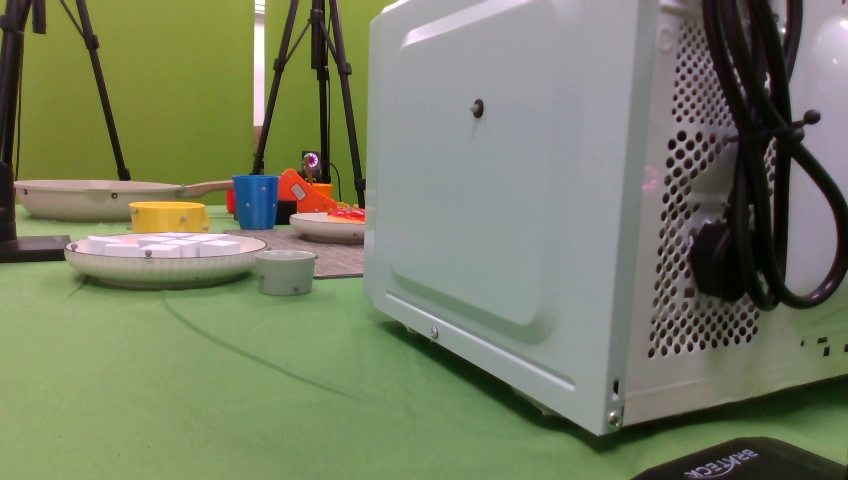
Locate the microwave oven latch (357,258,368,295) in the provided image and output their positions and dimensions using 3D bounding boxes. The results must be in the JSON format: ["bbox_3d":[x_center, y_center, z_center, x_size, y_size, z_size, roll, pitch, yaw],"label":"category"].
[{"bbox_3d":[-0.019,0.031,0.529,0.079,0.029,0.030,-1,7,-27],"label":"microwave oven latch"}]

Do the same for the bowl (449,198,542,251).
[{"bbox_3d":[0.115,-0.026,0.987,0.151,0.077,0.151,1,8,0],"label":"bowl"}]

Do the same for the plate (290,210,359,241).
[{"bbox_3d":[-0.127,-0.025,1.051,0.209,0.038,0.209,2,7,0],"label":"plate"}]

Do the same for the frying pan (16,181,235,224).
[{"bbox_3d":[-0.554,-0.097,1.266,0.490,0.102,0.305,-10,13,-24],"label":"frying pan"}]

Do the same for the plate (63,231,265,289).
[{"bbox_3d":[-0.288,0.021,0.687,0.208,0.039,0.207,2,8,0],"label":"plate"}]

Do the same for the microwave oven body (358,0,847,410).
[{"bbox_3d":[0.210,-0.051,0.471,0.444,0.260,0.324,-1,7,-28],"label":"microwave oven body"}]

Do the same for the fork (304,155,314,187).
[{"bbox_3d":[-0.268,-0.134,1.446,0.028,0.018,0.207,2,-36,-1],"label":"fork"}]

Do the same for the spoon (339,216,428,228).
[{"bbox_3d":[-0.087,-0.041,1.268,0.193,0.021,0.041,4,25,13],"label":"spoon"}]

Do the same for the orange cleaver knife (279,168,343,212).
[{"bbox_3d":[-0.236,-0.084,1.333,0.212,0.077,0.012,31,-9,-32],"label":"orange cleaver knife"}]

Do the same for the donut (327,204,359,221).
[{"bbox_3d":[-0.120,-0.037,1.056,0.099,0.048,0.099,5,7,0],"label":"donut"}]

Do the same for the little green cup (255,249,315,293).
[{"bbox_3d":[-0.144,0.031,0.627,0.061,0.038,0.061,2,6,0],"label":"little green cup"}]

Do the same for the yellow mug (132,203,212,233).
[{"bbox_3d":[-0.356,-0.020,0.878,0.099,0.064,0.131,5,7,22],"label":"yellow mug"}]

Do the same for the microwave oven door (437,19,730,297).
[{"bbox_3d":[0.181,-0.076,0.618,0.358,0.243,0.039,-2,9,-28],"label":"microwave oven door"}]

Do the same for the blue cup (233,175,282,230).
[{"bbox_3d":[-0.314,-0.071,1.141,0.093,0.100,0.092,0,7,0],"label":"blue cup"}]
